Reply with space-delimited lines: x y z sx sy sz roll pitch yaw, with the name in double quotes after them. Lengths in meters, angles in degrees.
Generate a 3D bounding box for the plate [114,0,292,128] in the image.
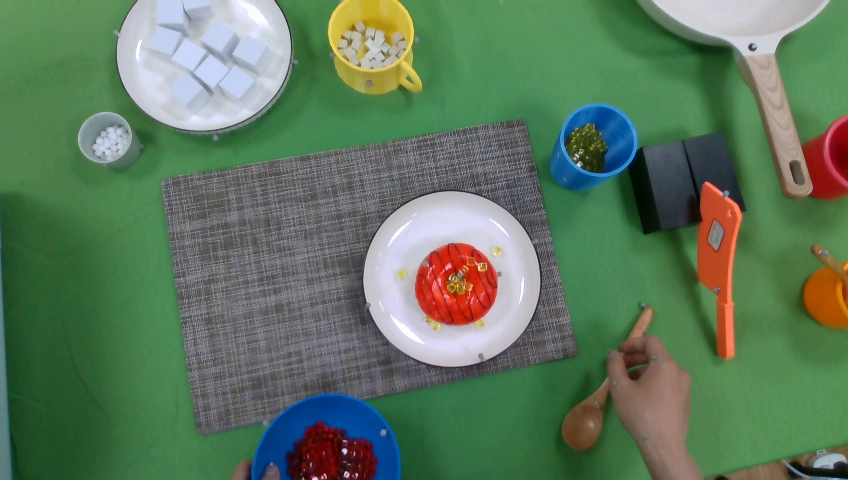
-0.262 -0.232 0.735 0.208 0.039 0.207 0 82 -3 "plate"

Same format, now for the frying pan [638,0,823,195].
0.387 -0.286 0.741 0.307 0.103 0.485 -6 75 -2 "frying pan"

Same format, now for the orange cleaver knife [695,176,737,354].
0.338 0.031 0.707 0.012 0.076 0.212 -11 111 -4 "orange cleaver knife"

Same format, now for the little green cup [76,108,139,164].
-0.369 -0.119 0.712 0.061 0.038 0.061 1 83 -4 "little green cup"

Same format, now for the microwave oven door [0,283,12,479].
-0.470 0.161 0.550 0.039 0.244 0.354 -8 82 -3 "microwave oven door"

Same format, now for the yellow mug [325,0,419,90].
-0.055 -0.232 0.731 0.131 0.064 0.100 42 82 2 "yellow mug"

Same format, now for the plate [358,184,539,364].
0.028 0.039 0.709 0.209 0.038 0.208 0 83 -3 "plate"

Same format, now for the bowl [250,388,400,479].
-0.107 0.235 0.652 0.152 0.077 0.150 3 77 -12 "bowl"

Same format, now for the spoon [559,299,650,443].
0.219 0.151 0.714 0.041 0.022 0.193 31 82 19 "spoon"

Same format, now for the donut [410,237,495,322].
0.033 0.046 0.697 0.099 0.048 0.099 0 86 -2 "donut"

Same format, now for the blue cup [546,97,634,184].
0.184 -0.107 0.708 0.093 0.100 0.092 1 80 -4 "blue cup"

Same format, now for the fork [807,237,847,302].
0.463 0.036 0.679 0.209 0.018 0.028 27 78 -43 "fork"
